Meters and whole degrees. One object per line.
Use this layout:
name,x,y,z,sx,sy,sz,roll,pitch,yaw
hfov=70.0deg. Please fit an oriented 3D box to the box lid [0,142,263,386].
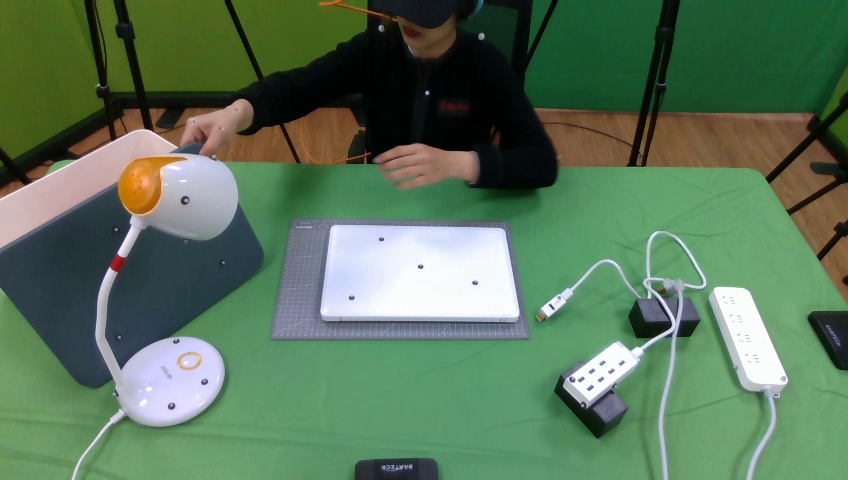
box lid,-0.445,0.031,0.977,0.015,0.264,0.371,13,43,41

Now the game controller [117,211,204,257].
game controller,-0.500,-0.017,1.144,0.155,0.051,0.097,25,20,17

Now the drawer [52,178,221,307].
drawer,-0.519,0.000,1.108,0.194,0.073,0.211,26,51,21

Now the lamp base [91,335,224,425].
lamp base,-0.401,0.171,0.892,0.160,0.181,0.179,30,53,23

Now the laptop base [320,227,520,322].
laptop base,-0.009,0.062,1.138,0.354,0.023,0.234,1,42,-3

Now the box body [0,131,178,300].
box body,-0.550,-0.007,1.068,0.253,0.161,0.363,30,51,23

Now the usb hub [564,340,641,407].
usb hub,0.278,0.205,0.944,0.125,0.025,0.049,-27,52,-28

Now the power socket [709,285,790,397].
power socket,0.567,0.168,1.064,0.072,0.033,0.225,2,46,0

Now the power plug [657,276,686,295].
power plug,0.450,0.087,1.113,0.073,0.052,0.035,-13,72,-55

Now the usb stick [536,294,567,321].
usb stick,0.226,0.122,1.083,0.059,0.027,0.021,-37,78,-8

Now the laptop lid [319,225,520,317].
laptop lid,-0.008,0.052,1.131,0.357,0.013,0.240,2,43,-2

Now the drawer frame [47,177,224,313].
drawer frame,-0.518,0.002,1.107,0.201,0.083,0.213,26,51,19

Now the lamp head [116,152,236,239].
lamp head,-0.315,-0.057,0.748,0.112,0.112,0.123,26,10,20
